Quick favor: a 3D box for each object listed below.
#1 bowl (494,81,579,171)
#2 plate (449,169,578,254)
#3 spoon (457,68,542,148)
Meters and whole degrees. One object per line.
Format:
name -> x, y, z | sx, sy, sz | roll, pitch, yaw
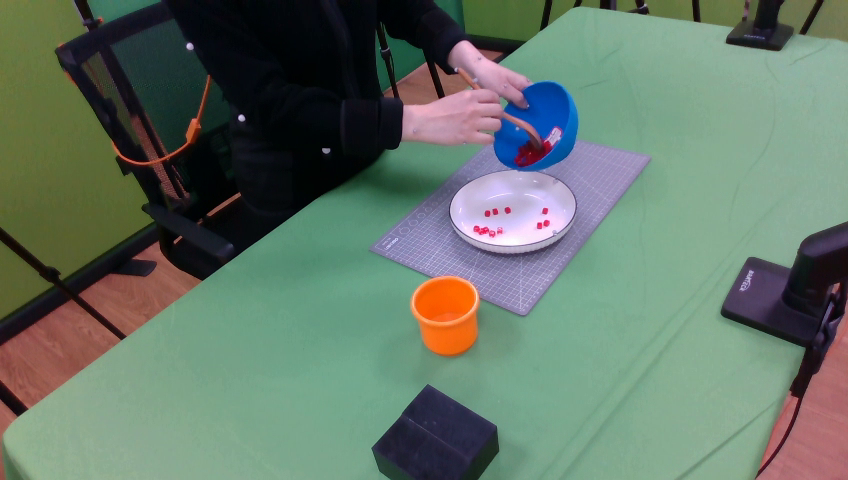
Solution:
bowl -> 0.196, -0.172, 0.982 | 0.150, 0.077, 0.150 | -22, 57, 40
plate -> 0.147, -0.044, 0.994 | 0.209, 0.038, 0.208 | -5, 40, 5
spoon -> 0.119, -0.199, 0.923 | 0.021, 0.195, 0.041 | -51, 31, 15
